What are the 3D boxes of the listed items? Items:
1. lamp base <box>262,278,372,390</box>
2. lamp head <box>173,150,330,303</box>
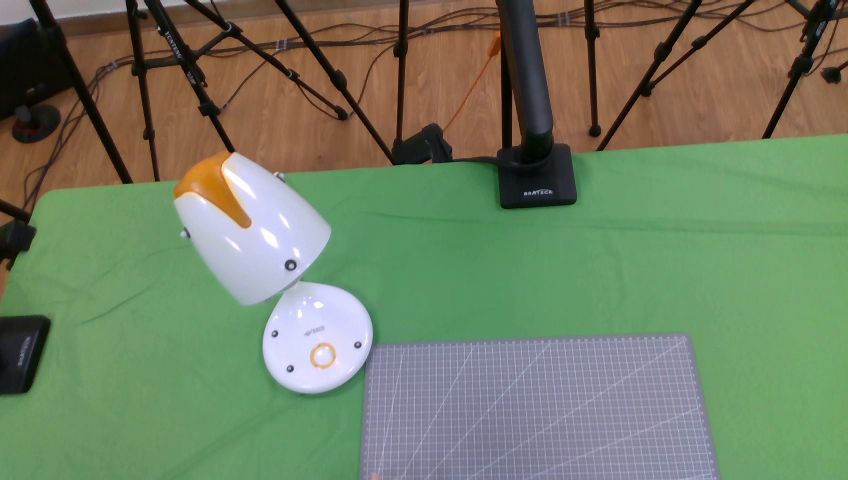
[{"bbox_3d":[-0.170,0.091,0.814,0.160,0.182,0.177,-30,59,-9],"label":"lamp base"},{"bbox_3d":[-0.165,-0.022,0.553,0.112,0.124,0.111,-33,21,15],"label":"lamp head"}]
